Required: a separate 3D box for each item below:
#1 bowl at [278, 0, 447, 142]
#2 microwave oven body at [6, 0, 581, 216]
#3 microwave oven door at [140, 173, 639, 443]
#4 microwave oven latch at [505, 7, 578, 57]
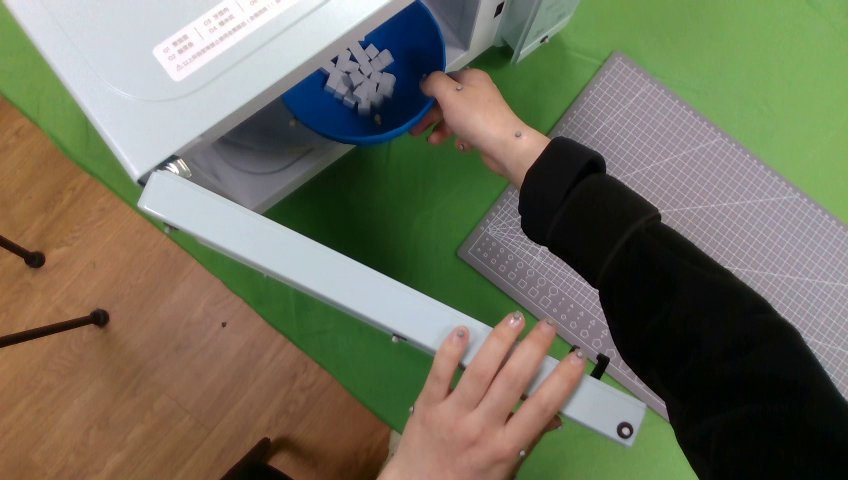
[{"bbox_3d":[-0.056,-0.150,0.548,0.151,0.077,0.150,1,78,-3],"label":"bowl"},{"bbox_3d":[-0.100,-0.258,0.550,0.441,0.260,0.325,-37,86,-6],"label":"microwave oven body"},{"bbox_3d":[-0.026,0.058,0.506,0.356,0.244,0.039,26,81,1],"label":"microwave oven door"},{"bbox_3d":[0.127,-0.234,0.656,0.079,0.029,0.030,-35,86,-6],"label":"microwave oven latch"}]
